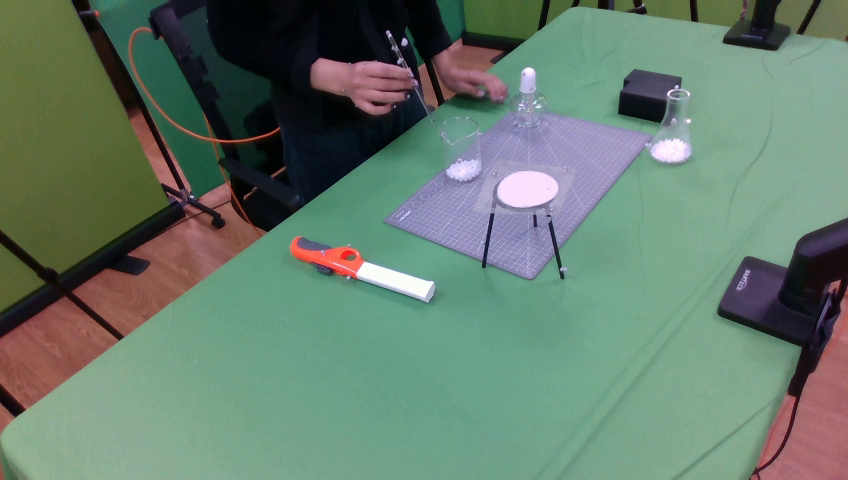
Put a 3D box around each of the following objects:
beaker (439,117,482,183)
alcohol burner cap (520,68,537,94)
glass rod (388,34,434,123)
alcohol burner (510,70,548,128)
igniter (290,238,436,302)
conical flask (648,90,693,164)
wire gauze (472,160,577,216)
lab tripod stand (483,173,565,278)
[{"bbox_3d":[0.068,-0.160,1.097,0.073,0.101,0.084,7,43,19],"label":"beaker"},{"bbox_3d":[0.205,-0.313,1.183,0.034,0.048,0.033,-3,50,4],"label":"alcohol burner cap"},{"bbox_3d":[-0.019,-0.268,1.024,0.008,0.201,0.008,-11,54,17],"label":"glass rod"},{"bbox_3d":[0.209,-0.287,1.208,0.078,0.119,0.077,-5,42,5],"label":"alcohol burner"},{"bbox_3d":[-0.106,0.043,0.949,0.274,0.025,0.057,16,57,27],"label":"igniter"},{"bbox_3d":[0.437,-0.199,1.057,0.075,0.122,0.075,-5,40,5],"label":"conical flask"},{"bbox_3d":[0.143,-0.073,0.850,0.121,0.011,0.125,8,43,22],"label":"wire gauze"},{"bbox_3d":[0.151,-0.025,0.896,0.148,0.132,0.147,-7,40,6],"label":"lab tripod stand"}]
